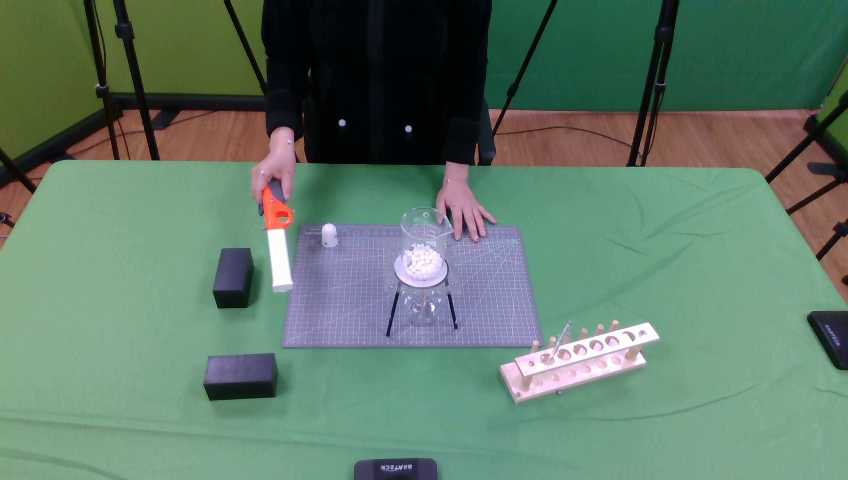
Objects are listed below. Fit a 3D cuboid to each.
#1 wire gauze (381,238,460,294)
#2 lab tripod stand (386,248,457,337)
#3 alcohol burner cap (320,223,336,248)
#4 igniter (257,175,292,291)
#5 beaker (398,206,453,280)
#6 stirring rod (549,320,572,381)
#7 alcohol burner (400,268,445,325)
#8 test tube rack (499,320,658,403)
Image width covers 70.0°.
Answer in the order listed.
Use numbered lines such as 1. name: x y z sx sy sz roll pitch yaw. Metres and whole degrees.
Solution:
1. wire gauze: -0.007 0.042 0.985 0.125 0.011 0.120 -1 43 -2
2. lab tripod stand: -0.010 0.087 1.032 0.148 0.132 0.147 1 45 -1
3. alcohol burner cap: -0.187 -0.010 1.176 0.034 0.048 0.033 2 44 -2
4. igniter: -0.260 -0.021 1.059 0.057 0.025 0.274 -5 47 -15
5. beaker: 0.000 0.008 0.950 0.084 0.101 0.073 10 45 6
6. stirring rod: 0.201 0.167 0.901 0.006 0.177 0.014 -16 54 -10
7. alcohol burner: -0.003 0.092 1.042 0.078 0.120 0.077 1 46 -1
8. test tube rack: 0.252 0.187 0.994 0.243 0.085 0.066 -12 48 -15
